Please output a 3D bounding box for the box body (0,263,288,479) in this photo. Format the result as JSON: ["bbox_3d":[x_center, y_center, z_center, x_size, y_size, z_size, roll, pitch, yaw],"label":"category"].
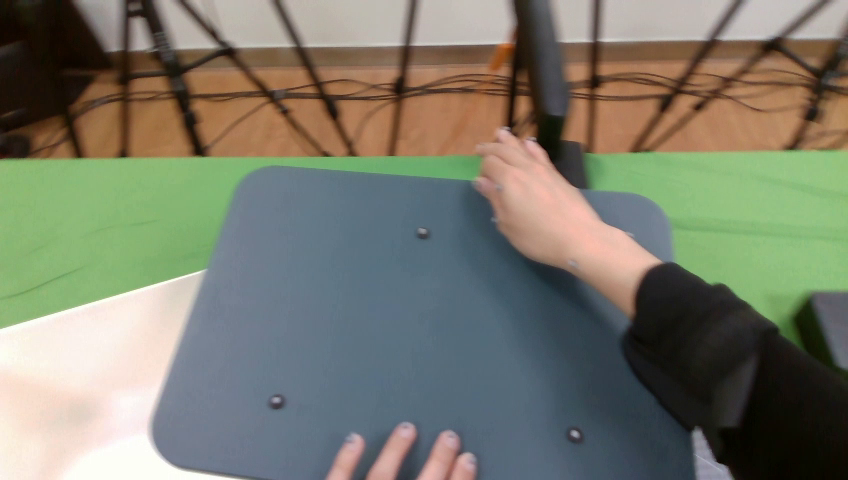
[{"bbox_3d":[-0.240,0.185,0.571,0.364,0.162,0.251,-18,53,-11],"label":"box body"}]

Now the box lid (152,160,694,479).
[{"bbox_3d":[0.008,0.056,0.460,0.371,0.015,0.261,5,59,5],"label":"box lid"}]

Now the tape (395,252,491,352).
[{"bbox_3d":[0.021,0.072,0.720,0.117,0.053,0.115,-1,49,1],"label":"tape"}]
